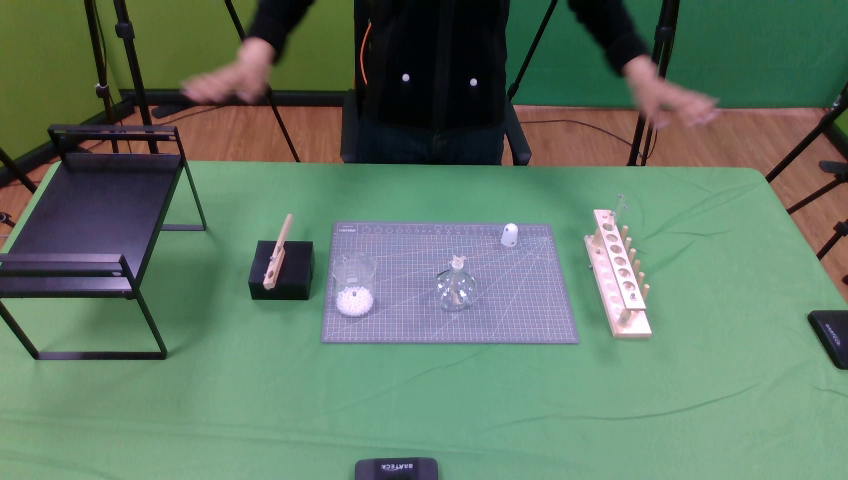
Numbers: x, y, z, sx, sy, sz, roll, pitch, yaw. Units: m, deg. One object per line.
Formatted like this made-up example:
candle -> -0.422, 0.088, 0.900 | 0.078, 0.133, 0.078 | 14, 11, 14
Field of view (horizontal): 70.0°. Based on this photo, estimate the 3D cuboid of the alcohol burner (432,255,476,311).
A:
alcohol burner -> 0.055, 0.070, 1.068 | 0.078, 0.119, 0.077 | 3, 45, -3

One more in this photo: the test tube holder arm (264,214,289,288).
test tube holder arm -> -0.267, 0.016, 1.099 | 0.013, 0.015, 0.177 | 1, 45, -1

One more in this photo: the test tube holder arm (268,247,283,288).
test tube holder arm -> -0.261, 0.048, 1.067 | 0.010, 0.015, 0.087 | 2, 45, 0

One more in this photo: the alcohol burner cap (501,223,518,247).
alcohol burner cap -> 0.172, -0.013, 1.206 | 0.034, 0.048, 0.033 | 1, 46, -1

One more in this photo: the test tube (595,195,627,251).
test tube -> 0.350, -0.029, 1.140 | 0.017, 0.151, 0.017 | 3, 50, -3

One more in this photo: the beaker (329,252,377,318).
beaker -> -0.121, 0.080, 1.055 | 0.084, 0.101, 0.073 | -16, 50, -19

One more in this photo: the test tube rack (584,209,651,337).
test tube rack -> 0.365, 0.055, 1.129 | 0.067, 0.085, 0.240 | 0, 46, -3
